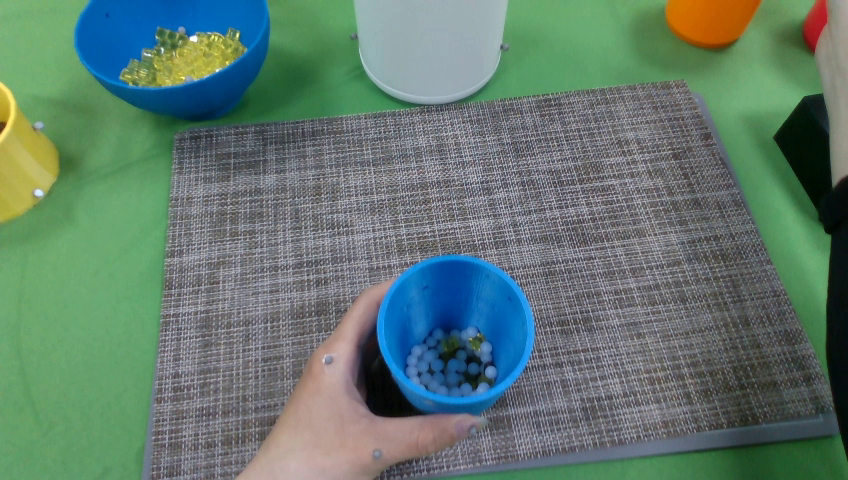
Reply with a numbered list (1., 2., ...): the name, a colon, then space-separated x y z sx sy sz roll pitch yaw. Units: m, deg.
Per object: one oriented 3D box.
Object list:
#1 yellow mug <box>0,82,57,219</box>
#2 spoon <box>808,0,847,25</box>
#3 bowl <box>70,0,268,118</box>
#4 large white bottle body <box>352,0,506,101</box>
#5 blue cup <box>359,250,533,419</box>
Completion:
1. yellow mug: -0.351 -0.058 0.455 0.100 0.064 0.130 4 62 1
2. spoon: 0.426 -0.206 0.504 0.041 0.022 0.192 -46 26 -20
3. bowl: -0.199 -0.156 0.506 0.151 0.077 0.150 1 61 -1
4. large white bottle body: 0.004 -0.219 0.482 0.130 0.186 0.129 0 61 0
5. blue cup: 0.015 0.067 0.366 0.093 0.101 0.092 1 62 -1
